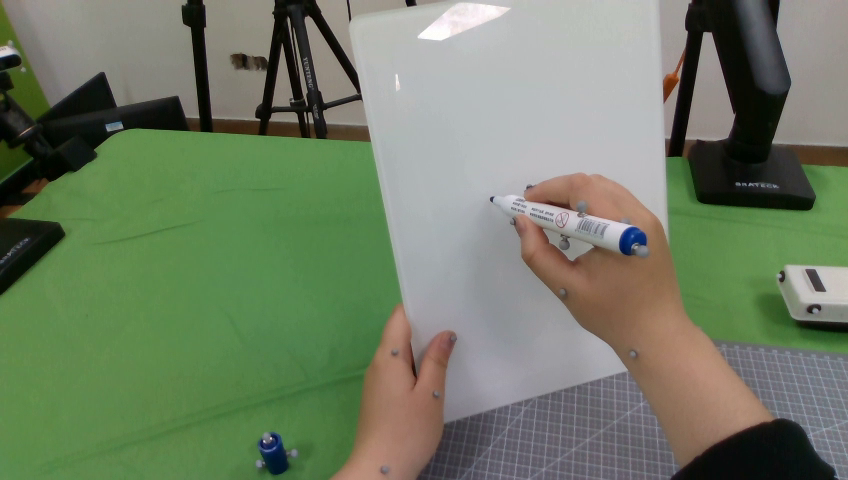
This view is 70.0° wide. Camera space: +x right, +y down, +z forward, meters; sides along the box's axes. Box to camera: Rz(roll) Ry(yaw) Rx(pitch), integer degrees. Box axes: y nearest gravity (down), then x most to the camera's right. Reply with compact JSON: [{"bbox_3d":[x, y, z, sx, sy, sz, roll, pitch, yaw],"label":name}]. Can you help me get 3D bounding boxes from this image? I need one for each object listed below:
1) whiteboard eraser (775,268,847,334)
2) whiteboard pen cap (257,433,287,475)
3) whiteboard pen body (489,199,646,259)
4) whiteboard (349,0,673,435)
[{"bbox_3d":[0.372,0.054,0.525,0.112,0.042,0.055,3,41,9],"label":"whiteboard eraser"},{"bbox_3d":[-0.111,0.158,0.446,0.018,0.033,0.018,-2,38,2],"label":"whiteboard pen cap"},{"bbox_3d":[0.077,-0.011,0.366,0.017,0.017,0.139,-22,21,-21],"label":"whiteboard pen body"},{"bbox_3d":[0.066,-0.034,0.503,0.217,0.307,0.143,-13,18,-9],"label":"whiteboard"}]
